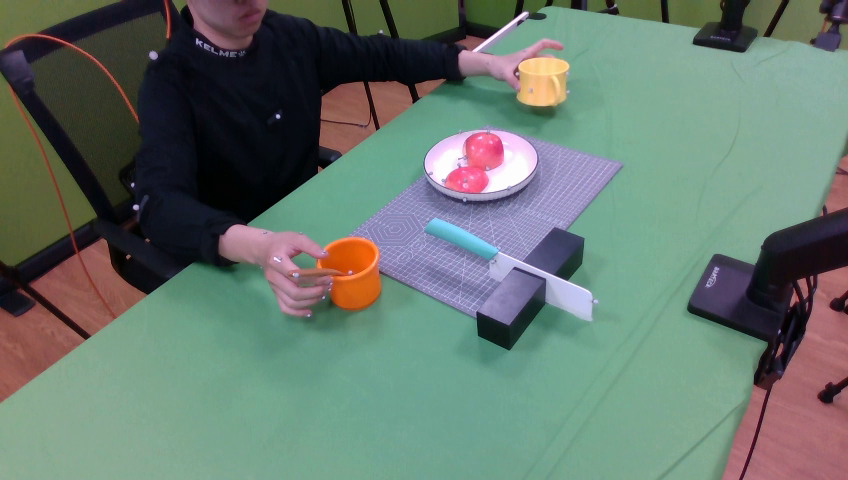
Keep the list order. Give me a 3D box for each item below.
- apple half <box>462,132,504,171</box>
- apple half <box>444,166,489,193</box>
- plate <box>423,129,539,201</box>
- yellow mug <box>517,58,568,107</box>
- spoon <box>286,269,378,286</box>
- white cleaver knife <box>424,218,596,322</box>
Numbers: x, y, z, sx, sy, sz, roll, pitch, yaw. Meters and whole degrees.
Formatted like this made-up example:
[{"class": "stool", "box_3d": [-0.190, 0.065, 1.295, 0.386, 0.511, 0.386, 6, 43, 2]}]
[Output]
[{"class": "apple half", "box_3d": [0.109, -0.170, 1.110, 0.075, 0.053, 0.080, -6, 40, -2]}, {"class": "apple half", "box_3d": [0.074, -0.112, 1.062, 0.081, 0.033, 0.081, -6, 38, 5]}, {"class": "plate", "box_3d": [0.103, -0.132, 1.092, 0.209, 0.038, 0.208, -4, 40, 4]}, {"class": "yellow mug", "box_3d": [0.241, -0.311, 1.208, 0.100, 0.064, 0.130, -12, 37, -10]}, {"class": "spoon", "box_3d": [-0.125, 0.049, 0.831, 0.041, 0.195, 0.021, 19, 91, 28]}, {"class": "white cleaver knife", "box_3d": [0.114, 0.042, 0.865, 0.284, 0.066, 0.021, 27, 47, 28]}]
